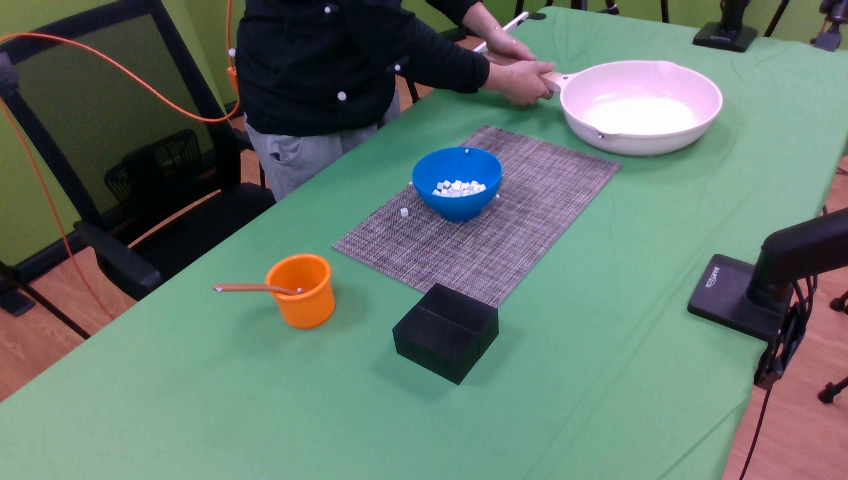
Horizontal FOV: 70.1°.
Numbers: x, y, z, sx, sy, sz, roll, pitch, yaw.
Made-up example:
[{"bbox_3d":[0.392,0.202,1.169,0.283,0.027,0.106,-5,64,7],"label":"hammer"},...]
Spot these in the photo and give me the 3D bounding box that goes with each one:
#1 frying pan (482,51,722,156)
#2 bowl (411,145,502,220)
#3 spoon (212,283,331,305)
[{"bbox_3d":[0.326,-0.298,1.204,0.484,0.103,0.307,28,51,23],"label":"frying pan"},{"bbox_3d":[0.057,-0.086,1.010,0.151,0.077,0.150,-4,40,4],"label":"bowl"},{"bbox_3d":[-0.201,0.069,0.819,0.041,0.195,0.021,33,99,37],"label":"spoon"}]
